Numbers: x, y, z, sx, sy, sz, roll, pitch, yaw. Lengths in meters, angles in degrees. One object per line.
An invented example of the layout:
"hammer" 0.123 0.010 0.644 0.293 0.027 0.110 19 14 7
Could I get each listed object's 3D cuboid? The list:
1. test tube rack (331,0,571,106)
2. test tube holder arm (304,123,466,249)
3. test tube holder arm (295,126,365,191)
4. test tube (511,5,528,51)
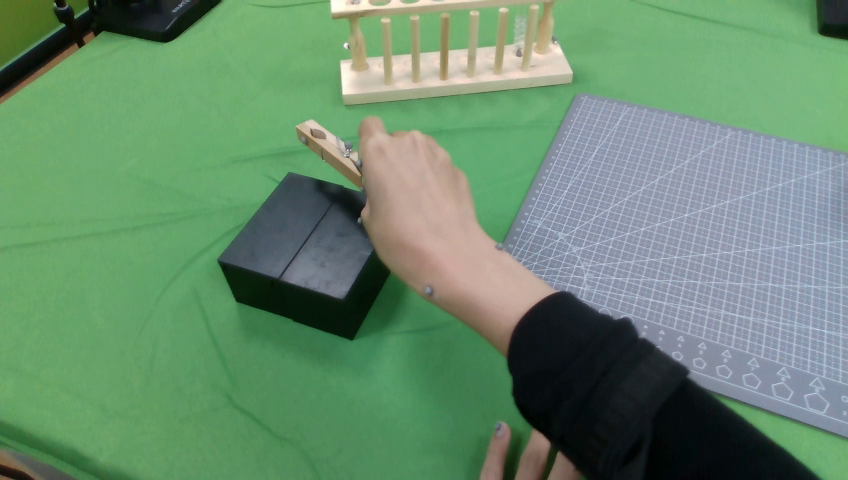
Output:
"test tube rack" 0.031 -0.205 0.628 0.242 0.086 0.066 -7 48 -4
"test tube holder arm" -0.034 -0.043 0.432 0.013 0.015 0.176 -39 53 -22
"test tube holder arm" -0.069 -0.062 0.455 0.010 0.015 0.087 -38 53 -21
"test tube" 0.099 -0.261 0.609 0.017 0.151 0.017 -2 45 2
